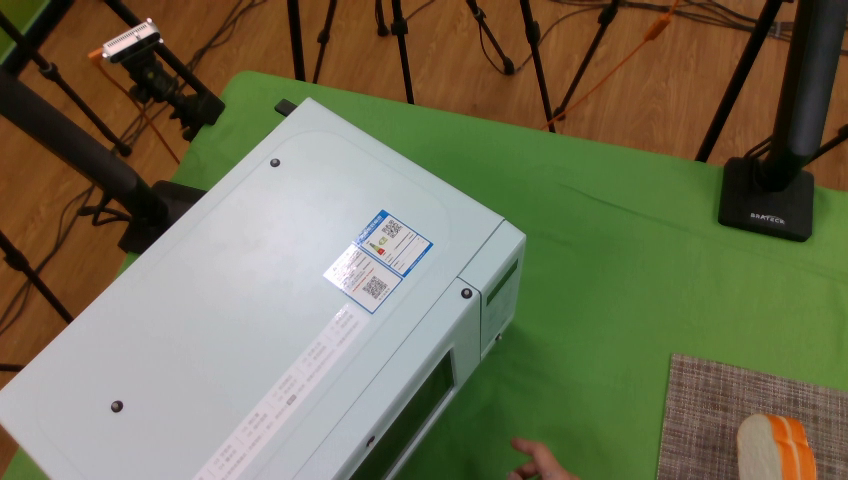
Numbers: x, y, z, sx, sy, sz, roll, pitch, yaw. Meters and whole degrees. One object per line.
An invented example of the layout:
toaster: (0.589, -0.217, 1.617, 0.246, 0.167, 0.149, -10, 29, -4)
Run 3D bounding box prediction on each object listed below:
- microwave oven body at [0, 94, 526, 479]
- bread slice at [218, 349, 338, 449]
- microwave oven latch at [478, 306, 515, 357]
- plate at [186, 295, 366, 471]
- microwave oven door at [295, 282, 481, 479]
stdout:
microwave oven body: (-0.148, 0.116, 0.680, 0.324, 0.262, 0.441, 34, 71, 19)
bread slice: (-0.172, 0.193, 0.714, 0.134, 0.018, 0.106, -10, 61, -12)
microwave oven latch: (0.085, 0.109, 0.773, 0.030, 0.030, 0.079, 35, 72, 19)
plate: (-0.171, 0.167, 0.719, 0.208, 0.039, 0.206, 0, 61, 0)
microwave oven door: (-0.060, 0.220, 0.615, 0.039, 0.246, 0.355, 33, 71, 20)
